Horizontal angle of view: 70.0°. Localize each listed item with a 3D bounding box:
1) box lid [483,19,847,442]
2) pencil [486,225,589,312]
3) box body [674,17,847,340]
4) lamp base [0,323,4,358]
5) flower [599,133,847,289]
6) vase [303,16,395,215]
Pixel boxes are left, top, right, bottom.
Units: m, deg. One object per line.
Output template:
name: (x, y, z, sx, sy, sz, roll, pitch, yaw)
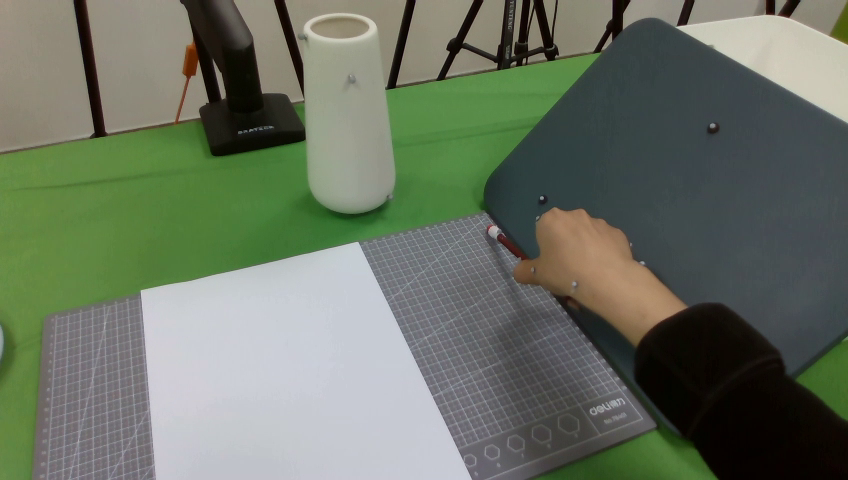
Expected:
box lid: (0.219, -0.035, 0.548, 0.015, 0.263, 0.367, 28, 20, -43)
pencil: (0.101, 0.022, 0.571, 0.012, 0.012, 0.192, -12, 25, -15)
box body: (0.380, -0.082, 0.634, 0.255, 0.162, 0.359, -14, 43, -17)
lamp base: (-0.438, 0.042, 0.442, 0.178, 0.182, 0.160, 25, 45, 27)
flower: (0.345, -0.023, 0.670, 0.358, 0.038, 0.044, 39, 17, 29)
vase: (-0.082, -0.125, 0.637, 0.098, 0.202, 0.097, 0, 40, 0)
